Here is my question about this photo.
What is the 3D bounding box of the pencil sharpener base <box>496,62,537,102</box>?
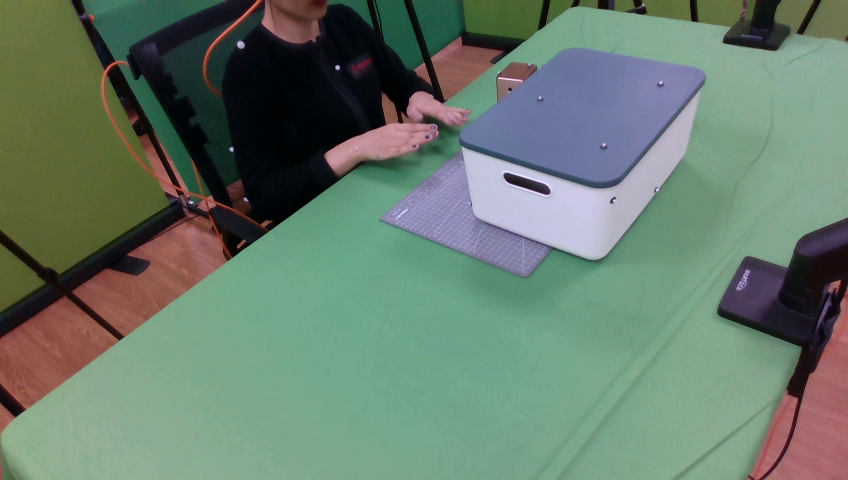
[{"bbox_3d":[0.190,-0.297,1.225,0.061,0.107,0.077,14,45,27],"label":"pencil sharpener base"}]

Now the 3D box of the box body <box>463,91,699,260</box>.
[{"bbox_3d":[0.264,-0.153,1.000,0.252,0.161,0.365,22,49,32],"label":"box body"}]

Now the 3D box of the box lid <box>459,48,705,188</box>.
[{"bbox_3d":[0.256,-0.210,0.953,0.261,0.015,0.372,23,49,31],"label":"box lid"}]

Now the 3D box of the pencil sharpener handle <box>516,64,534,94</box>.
[{"bbox_3d":[0.214,-0.337,1.249,0.036,0.068,0.031,12,44,28],"label":"pencil sharpener handle"}]
